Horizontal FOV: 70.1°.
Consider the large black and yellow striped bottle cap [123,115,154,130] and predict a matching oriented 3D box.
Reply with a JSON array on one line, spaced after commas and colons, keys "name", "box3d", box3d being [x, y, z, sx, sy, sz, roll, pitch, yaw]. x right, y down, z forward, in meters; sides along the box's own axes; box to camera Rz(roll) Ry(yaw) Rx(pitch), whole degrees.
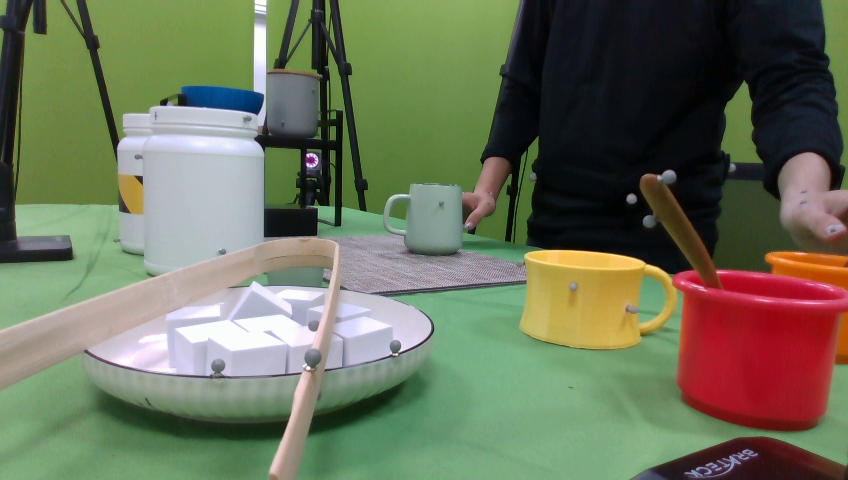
[{"name": "large black and yellow striped bottle cap", "box3d": [-0.353, -0.159, 0.838, 0.115, 0.019, 0.115, 2, 6, 0]}]

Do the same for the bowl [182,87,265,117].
[{"name": "bowl", "box3d": [-0.383, -0.243, 1.158, 0.151, 0.077, 0.151, 2, 7, 0]}]

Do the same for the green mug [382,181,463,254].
[{"name": "green mug", "box3d": [-0.001, -0.036, 0.922, 0.126, 0.105, 0.092, 0, 8, -16]}]

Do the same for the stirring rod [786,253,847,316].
[{"name": "stirring rod", "box3d": [0.356, 0.001, 0.489, 0.006, 0.176, 0.014, 43, 27, 24]}]

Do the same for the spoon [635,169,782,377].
[{"name": "spoon", "box3d": [0.161, 0.026, 0.346, 0.021, 0.194, 0.041, -51, 32, -19]}]

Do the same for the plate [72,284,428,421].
[{"name": "plate", "box3d": [-0.102, 0.067, 0.381, 0.208, 0.039, 0.207, 3, 7, 0]}]

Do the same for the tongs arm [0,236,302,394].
[{"name": "tongs arm", "box3d": [-0.157, 0.038, 0.347, 0.028, 0.028, 0.388, -3, 8, 11]}]

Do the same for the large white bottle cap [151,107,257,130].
[{"name": "large white bottle cap", "box3d": [-0.250, -0.138, 0.692, 0.115, 0.018, 0.115, 3, 7, 0]}]

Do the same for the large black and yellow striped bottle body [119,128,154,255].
[{"name": "large black and yellow striped bottle body", "box3d": [-0.355, -0.076, 0.850, 0.131, 0.184, 0.130, 2, 8, 0]}]

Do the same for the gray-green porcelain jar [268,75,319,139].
[{"name": "gray-green porcelain jar", "box3d": [-0.277, -0.279, 1.280, 0.106, 0.126, 0.106, 2, 8, 0]}]

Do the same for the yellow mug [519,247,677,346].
[{"name": "yellow mug", "box3d": [0.148, 0.045, 0.513, 0.131, 0.064, 0.100, 3, 6, 0]}]

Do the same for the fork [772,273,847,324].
[{"name": "fork", "box3d": [0.332, 0.018, 0.443, 0.028, 0.018, 0.207, 6, -37, -11]}]

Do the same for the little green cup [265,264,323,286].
[{"name": "little green cup", "box3d": [-0.134, 0.033, 0.628, 0.061, 0.038, 0.061, 3, 7, 0]}]

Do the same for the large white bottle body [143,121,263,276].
[{"name": "large white bottle body", "box3d": [-0.254, -0.054, 0.702, 0.131, 0.184, 0.130, 2, 8, 0]}]

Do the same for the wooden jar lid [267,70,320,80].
[{"name": "wooden jar lid", "box3d": [-0.275, -0.339, 1.271, 0.108, 0.020, 0.108, 5, 6, 0]}]

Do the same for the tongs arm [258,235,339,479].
[{"name": "tongs arm", "box3d": [-0.074, 0.040, 0.345, 0.051, 0.026, 0.384, -2, 10, -3]}]
